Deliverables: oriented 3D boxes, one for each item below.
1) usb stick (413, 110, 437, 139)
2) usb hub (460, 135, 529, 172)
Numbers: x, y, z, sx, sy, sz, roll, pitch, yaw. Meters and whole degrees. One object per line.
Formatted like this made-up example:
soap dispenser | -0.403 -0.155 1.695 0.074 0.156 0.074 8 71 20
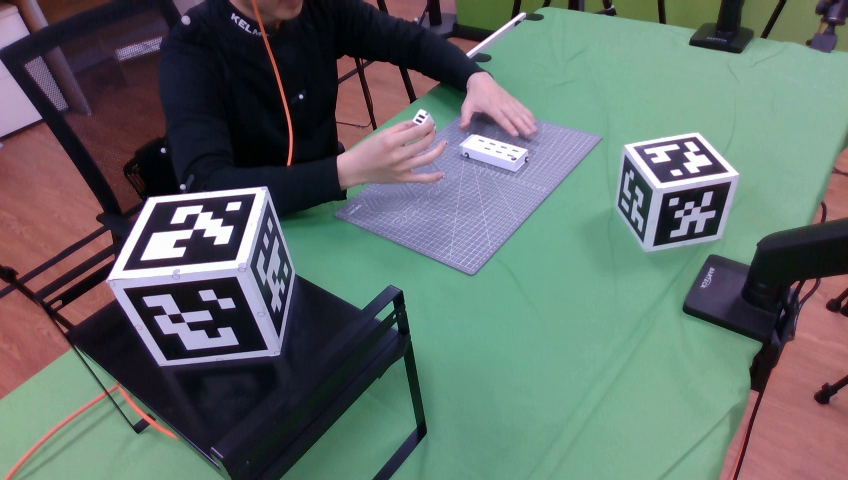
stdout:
usb stick | 0.004 -0.188 1.001 0.021 0.059 0.027 27 83 25
usb hub | 0.132 -0.164 1.138 0.124 0.025 0.049 22 48 31
